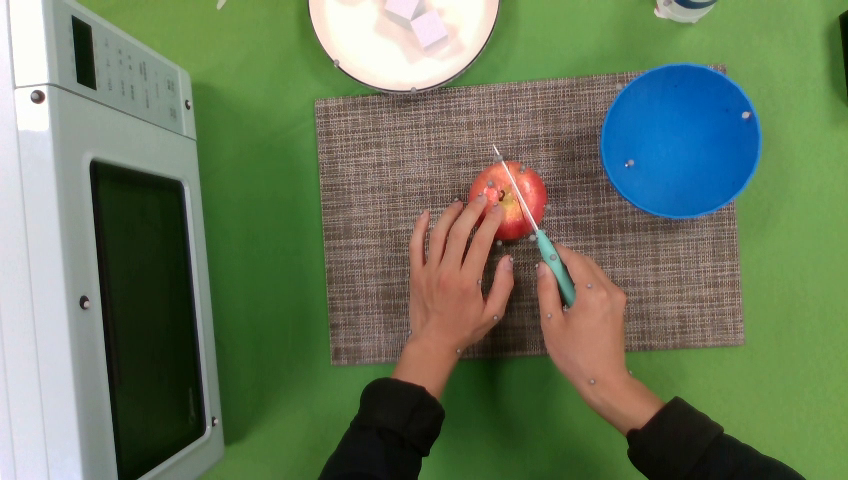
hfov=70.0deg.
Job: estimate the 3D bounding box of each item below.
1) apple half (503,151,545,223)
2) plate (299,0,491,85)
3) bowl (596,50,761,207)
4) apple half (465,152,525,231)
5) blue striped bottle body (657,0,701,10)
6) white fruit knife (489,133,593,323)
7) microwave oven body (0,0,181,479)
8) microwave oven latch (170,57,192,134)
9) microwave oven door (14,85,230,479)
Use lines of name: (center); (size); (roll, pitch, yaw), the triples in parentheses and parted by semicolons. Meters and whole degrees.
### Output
apple half: (0.107, -0.059, 0.628); (0.033, 0.081, 0.081); (-19, 89, 9)
plate: (-0.030, -0.269, 0.658); (0.207, 0.039, 0.207); (0, 91, 4)
bowl: (0.245, -0.106, 0.615); (0.151, 0.077, 0.151); (0, 91, 5)
apple half: (0.070, -0.046, 0.633); (0.053, 0.074, 0.081); (-18, 92, 9)
blue striped bottle body: (0.270, -0.277, 0.592); (0.063, 0.121, 0.063); (0, 90, 5)
white fruit knife: (0.111, -0.011, 0.582); (0.016, 0.027, 0.207); (-29, 92, 1)
microwave oven body: (-0.412, 0.035, 0.578); (0.326, 0.260, 0.441); (-6, 91, 4)
microwave oven latch: (-0.275, -0.156, 0.661); (0.030, 0.029, 0.079); (-6, 91, 4)
microwave oven door: (-0.263, 0.061, 0.562); (0.039, 0.244, 0.355); (-7, 90, 5)
